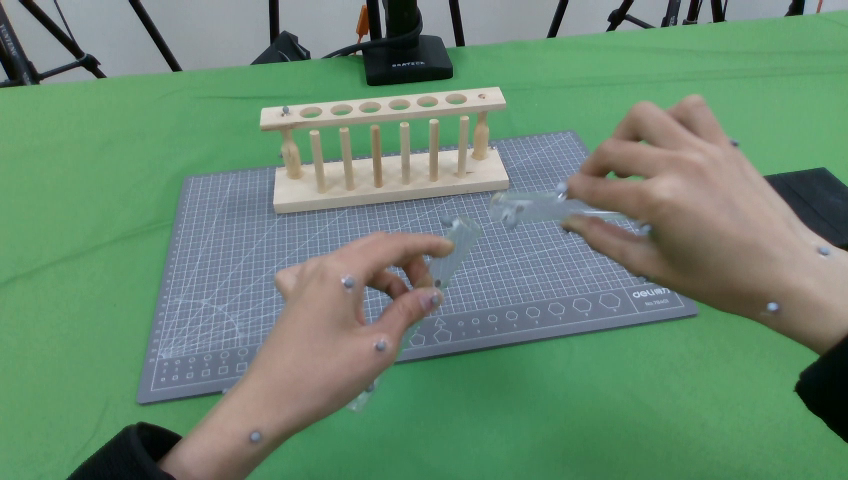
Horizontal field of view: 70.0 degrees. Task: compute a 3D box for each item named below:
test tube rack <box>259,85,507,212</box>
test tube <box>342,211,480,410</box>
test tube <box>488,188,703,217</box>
[{"bbox_3d":[-0.038,-0.094,0.622,0.243,0.086,0.066,-7,42,-5],"label":"test tube rack"},{"bbox_3d":[-0.011,0.046,0.357,0.017,0.151,0.017,27,22,-12],"label":"test tube"},{"bbox_3d":[0.104,-0.021,0.348,0.151,0.017,0.017,-1,38,-26],"label":"test tube"}]
